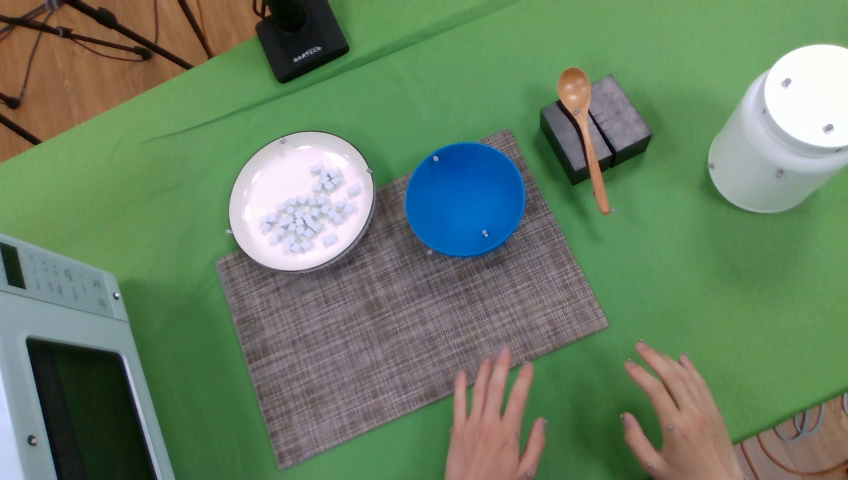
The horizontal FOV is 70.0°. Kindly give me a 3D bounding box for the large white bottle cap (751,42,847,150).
[{"bbox_3d":[0.392,-0.146,0.607,0.114,0.018,0.114,-2,74,8],"label":"large white bottle cap"}]

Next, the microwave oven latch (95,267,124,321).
[{"bbox_3d":[-0.438,0.078,0.827,0.030,0.030,0.078,-26,73,1],"label":"microwave oven latch"}]

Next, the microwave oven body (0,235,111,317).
[{"bbox_3d":[-0.514,0.268,0.686,0.326,0.262,0.438,-26,73,1],"label":"microwave oven body"}]

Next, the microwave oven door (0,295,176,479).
[{"bbox_3d":[-0.366,0.238,0.665,0.039,0.245,0.353,-27,72,1],"label":"microwave oven door"}]

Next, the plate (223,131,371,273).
[{"bbox_3d":[-0.171,-0.051,0.835,0.209,0.038,0.208,-3,71,9],"label":"plate"}]

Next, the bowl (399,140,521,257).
[{"bbox_3d":[0.049,-0.043,0.776,0.151,0.077,0.150,-2,75,9],"label":"bowl"}]

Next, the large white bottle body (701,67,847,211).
[{"bbox_3d":[0.405,-0.122,0.688,0.130,0.186,0.130,-2,74,9],"label":"large white bottle body"}]

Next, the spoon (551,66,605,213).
[{"bbox_3d":[0.197,-0.127,0.761,0.041,0.022,0.193,-12,78,1],"label":"spoon"}]
